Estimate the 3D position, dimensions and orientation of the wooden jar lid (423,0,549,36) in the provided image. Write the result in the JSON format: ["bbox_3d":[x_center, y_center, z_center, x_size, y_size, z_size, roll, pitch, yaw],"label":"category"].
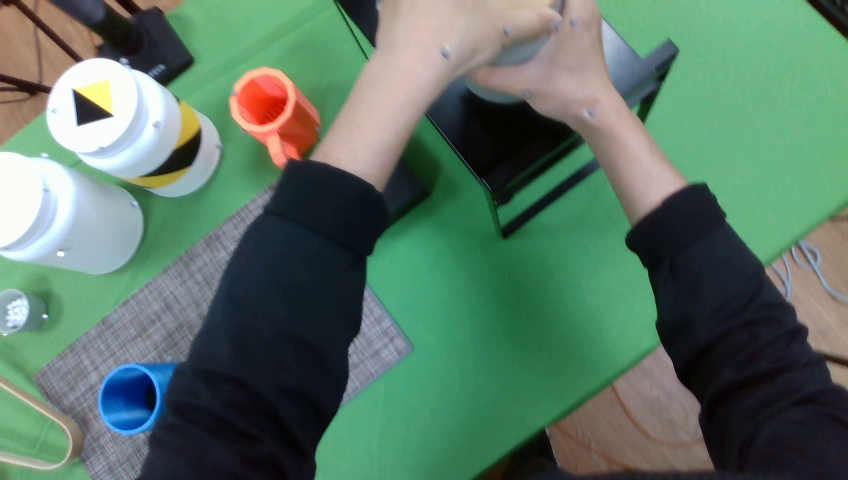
[{"bbox_3d":[0.050,-0.202,0.466,0.108,0.021,0.108,-3,76,14],"label":"wooden jar lid"}]

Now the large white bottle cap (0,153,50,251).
[{"bbox_3d":[-0.488,-0.044,0.700,0.114,0.018,0.114,-2,81,10],"label":"large white bottle cap"}]

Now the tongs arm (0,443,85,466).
[{"bbox_3d":[-0.654,0.252,0.822,0.384,0.026,0.050,14,79,4],"label":"tongs arm"}]

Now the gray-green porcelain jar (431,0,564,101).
[{"bbox_3d":[0.066,-0.189,0.525,0.105,0.127,0.105,-3,77,15],"label":"gray-green porcelain jar"}]

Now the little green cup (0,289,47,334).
[{"bbox_3d":[-0.568,0.101,0.852,0.061,0.039,0.061,-1,81,9],"label":"little green cup"}]

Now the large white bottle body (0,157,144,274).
[{"bbox_3d":[-0.473,-0.030,0.782,0.130,0.185,0.130,-2,80,10],"label":"large white bottle body"}]

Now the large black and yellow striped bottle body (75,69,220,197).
[{"bbox_3d":[-0.366,-0.138,0.782,0.130,0.185,0.130,-2,80,10],"label":"large black and yellow striped bottle body"}]

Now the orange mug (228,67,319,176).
[{"bbox_3d":[-0.193,-0.151,0.799,0.083,0.101,0.125,-16,74,7],"label":"orange mug"}]

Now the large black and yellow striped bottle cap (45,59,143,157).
[{"bbox_3d":[-0.382,-0.154,0.701,0.115,0.019,0.114,-1,80,8],"label":"large black and yellow striped bottle cap"}]

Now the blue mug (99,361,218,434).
[{"bbox_3d":[-0.319,0.190,0.758,0.116,0.106,0.082,-13,78,7],"label":"blue mug"}]

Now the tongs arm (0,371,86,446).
[{"bbox_3d":[-0.626,0.174,0.834,0.387,0.028,0.028,28,77,6],"label":"tongs arm"}]
